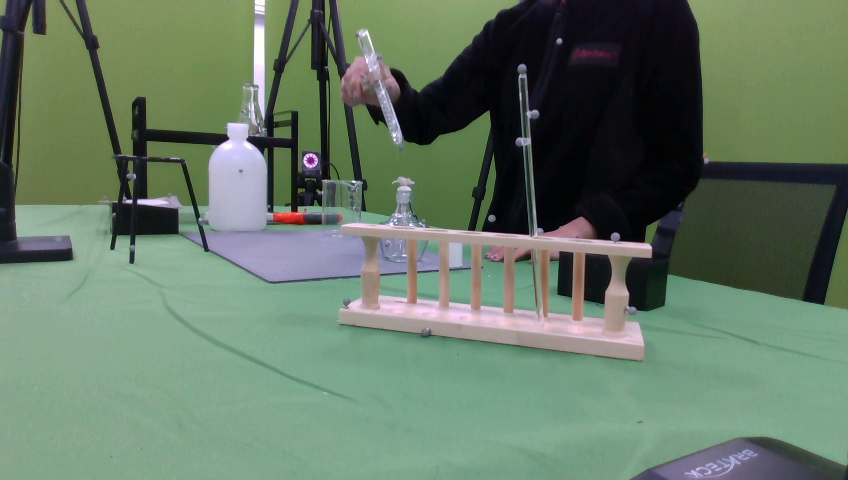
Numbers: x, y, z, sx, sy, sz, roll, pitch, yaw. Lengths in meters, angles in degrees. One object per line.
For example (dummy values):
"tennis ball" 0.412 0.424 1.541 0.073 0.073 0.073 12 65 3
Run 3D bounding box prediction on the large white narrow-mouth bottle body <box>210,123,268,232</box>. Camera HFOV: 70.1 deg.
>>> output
"large white narrow-mouth bottle body" -0.340 -0.115 1.109 0.102 0.194 0.102 2 8 0

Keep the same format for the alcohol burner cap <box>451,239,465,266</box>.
"alcohol burner cap" 0.041 0.010 0.815 0.034 0.048 0.034 4 8 0

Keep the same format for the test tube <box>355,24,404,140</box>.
"test tube" -0.055 -0.198 0.758 0.017 0.150 0.017 -20 2 1

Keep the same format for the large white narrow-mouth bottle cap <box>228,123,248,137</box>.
"large white narrow-mouth bottle cap" -0.338 -0.199 1.097 0.038 0.024 0.037 2 8 0

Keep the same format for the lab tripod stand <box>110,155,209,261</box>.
"lab tripod stand" -0.361 -0.046 0.806 0.148 0.131 0.148 2 5 0

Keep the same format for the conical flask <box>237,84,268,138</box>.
"conical flask" -0.402 -0.299 1.406 0.075 0.122 0.075 2 7 0

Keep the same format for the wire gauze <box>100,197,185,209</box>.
"wire gauze" -0.469 -0.062 1.008 0.126 0.011 0.121 -2 8 -25

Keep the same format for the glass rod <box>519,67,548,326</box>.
"glass rod" 0.084 -0.029 0.459 0.008 0.199 0.008 -6 11 2

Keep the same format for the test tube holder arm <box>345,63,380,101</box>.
"test tube holder arm" -0.086 -0.211 0.819 0.013 0.015 0.178 -18 7 -18

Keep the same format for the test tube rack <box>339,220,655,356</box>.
"test tube rack" 0.056 0.032 0.495 0.242 0.085 0.067 4 7 15

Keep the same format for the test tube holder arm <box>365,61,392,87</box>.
"test tube holder arm" -0.064 -0.213 0.780 0.010 0.015 0.087 -20 8 -26

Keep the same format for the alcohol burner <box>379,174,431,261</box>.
"alcohol burner" -0.027 -0.031 0.838 0.078 0.119 0.078 0 6 0

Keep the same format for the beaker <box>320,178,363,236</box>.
"beaker" -0.145 -0.059 1.079 0.074 0.100 0.083 -4 10 -36

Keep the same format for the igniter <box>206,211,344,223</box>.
"igniter" -0.302 -0.048 1.250 0.278 0.025 0.057 -2 -2 -26
